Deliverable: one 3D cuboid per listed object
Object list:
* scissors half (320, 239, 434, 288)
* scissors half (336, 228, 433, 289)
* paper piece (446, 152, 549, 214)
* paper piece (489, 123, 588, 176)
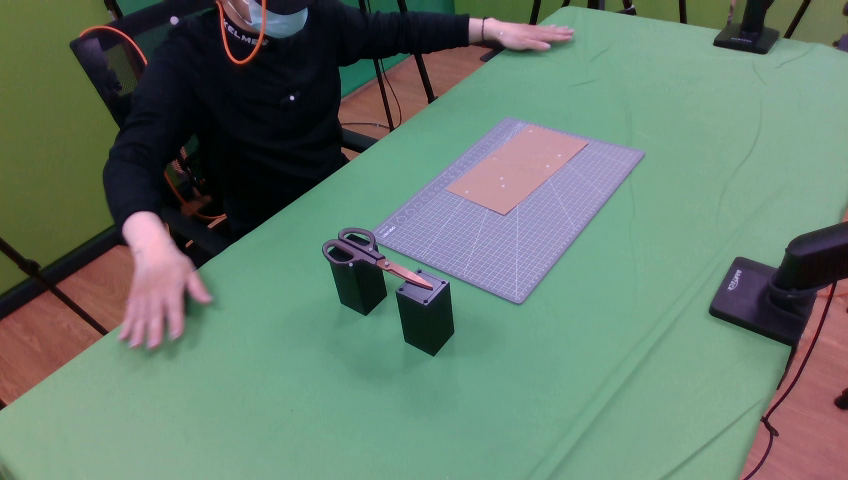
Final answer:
[{"bbox_3d":[-0.064,0.033,0.790,0.174,0.013,0.040,17,40,22],"label":"scissors half"},{"bbox_3d":[-0.052,0.023,0.803,0.173,0.013,0.040,31,52,34],"label":"scissors half"},{"bbox_3d":[0.130,-0.105,1.078,0.134,0.004,0.136,29,53,32],"label":"paper piece"},{"bbox_3d":[0.218,-0.176,1.150,0.135,0.009,0.138,30,52,31],"label":"paper piece"}]
